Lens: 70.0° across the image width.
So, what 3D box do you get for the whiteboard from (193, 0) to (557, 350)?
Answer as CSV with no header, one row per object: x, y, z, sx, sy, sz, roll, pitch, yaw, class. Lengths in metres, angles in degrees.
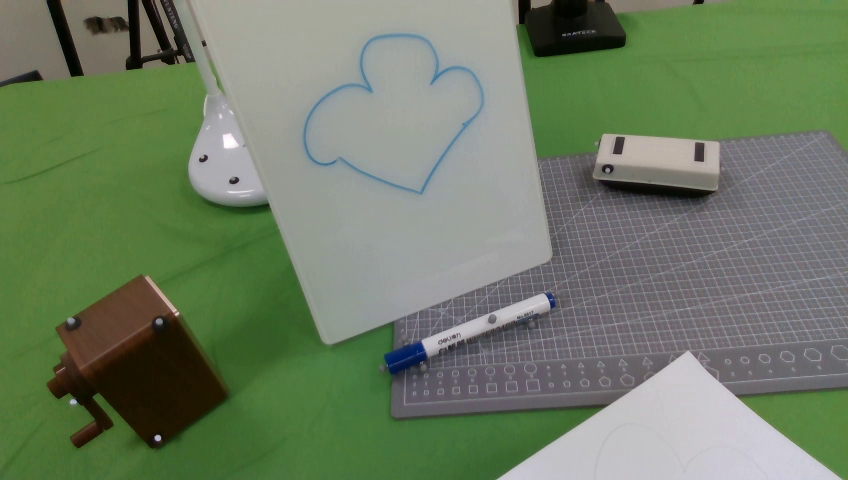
-0.036,-0.102,0.516,0.217,0.308,0.142,-20,26,-9,whiteboard

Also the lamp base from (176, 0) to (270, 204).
-0.204,-0.155,0.645,0.177,0.182,0.160,27,55,34,lamp base

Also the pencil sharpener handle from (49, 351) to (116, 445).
-0.241,0.111,0.416,0.030,0.068,0.035,-37,38,-25,pencil sharpener handle

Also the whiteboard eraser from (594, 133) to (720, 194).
0.226,-0.074,0.589,0.112,0.042,0.055,9,48,17,whiteboard eraser

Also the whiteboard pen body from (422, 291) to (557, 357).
0.042,0.071,0.484,0.141,0.017,0.017,-20,45,-9,whiteboard pen body

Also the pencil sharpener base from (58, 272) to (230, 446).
-0.204,0.091,0.448,0.076,0.108,0.061,-36,51,-25,pencil sharpener base

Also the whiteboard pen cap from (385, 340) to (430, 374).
-0.013,0.091,0.474,0.033,0.018,0.018,-21,45,-10,whiteboard pen cap
